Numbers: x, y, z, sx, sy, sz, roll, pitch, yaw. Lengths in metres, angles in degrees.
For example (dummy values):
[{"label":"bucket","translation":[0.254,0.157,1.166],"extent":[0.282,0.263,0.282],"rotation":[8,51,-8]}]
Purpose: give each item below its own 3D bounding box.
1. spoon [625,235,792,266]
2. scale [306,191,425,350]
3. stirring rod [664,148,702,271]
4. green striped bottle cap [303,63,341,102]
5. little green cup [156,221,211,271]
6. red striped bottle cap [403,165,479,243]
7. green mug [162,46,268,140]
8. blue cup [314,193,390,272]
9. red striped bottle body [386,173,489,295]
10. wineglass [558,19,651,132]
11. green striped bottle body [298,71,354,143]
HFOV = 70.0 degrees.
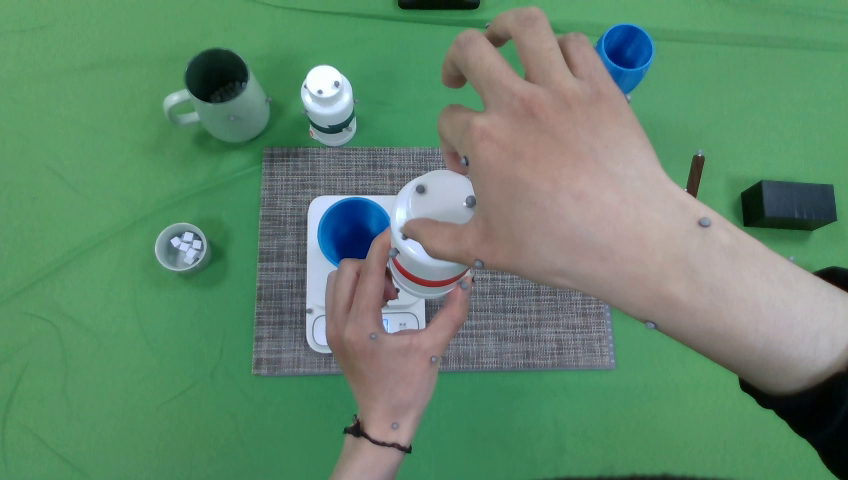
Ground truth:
[{"label":"spoon","translation":[0.342,0.018,0.744],"extent":[0.022,0.192,0.041],"rotation":[20,79,-43]},{"label":"scale","translation":[-0.076,0.036,0.770],"extent":[0.149,0.031,0.200],"rotation":[-2,77,-4]},{"label":"stirring rod","translation":[0.321,-0.033,0.755],"extent":[0.014,0.177,0.006],"rotation":[5,35,11]},{"label":"green striped bottle cap","translation":[-0.123,-0.190,0.727],"extent":[0.044,0.020,0.044],"rotation":[1,75,-4]},{"label":"little green cup","translation":[-0.300,0.010,0.762],"extent":[0.061,0.039,0.061],"rotation":[1,76,-4]},{"label":"red striped bottle cap","translation":[0.010,-0.022,0.356],"extent":[0.044,0.018,0.044],"rotation":[2,72,-6]},{"label":"green mug","translation":[-0.270,-0.180,0.777],"extent":[0.125,0.105,0.092],"rotation":[-22,79,-8]},{"label":"blue cup","translation":[-0.080,0.000,0.712],"extent":[0.093,0.100,0.092],"rotation":[1,78,-3]},{"label":"red striped bottle body","translation":[0.007,-0.005,0.408],"extent":[0.063,0.120,0.062],"rotation":[2,72,-5]},{"label":"wineglass","translation":[0.226,-0.205,0.779],"extent":[0.074,0.173,0.073],"rotation":[1,76,-3]},{"label":"green striped bottle body","translation":[-0.125,-0.176,0.777],"extent":[0.063,0.119,0.063],"rotation":[1,75,-3]}]
